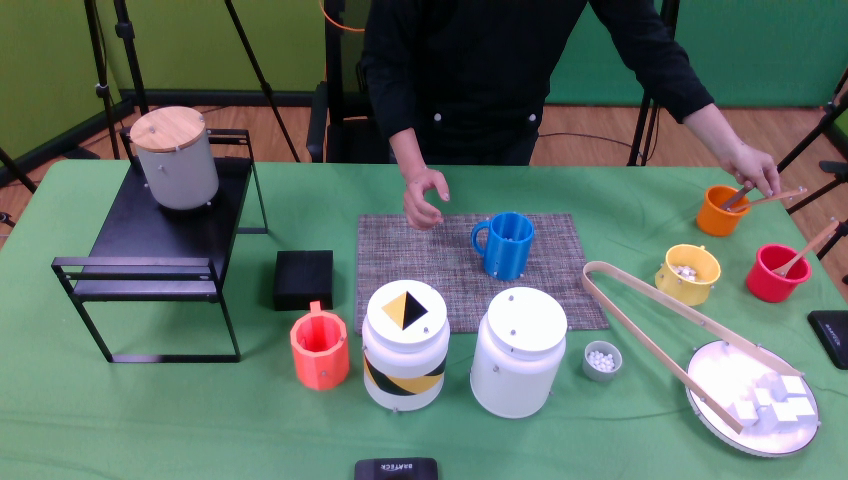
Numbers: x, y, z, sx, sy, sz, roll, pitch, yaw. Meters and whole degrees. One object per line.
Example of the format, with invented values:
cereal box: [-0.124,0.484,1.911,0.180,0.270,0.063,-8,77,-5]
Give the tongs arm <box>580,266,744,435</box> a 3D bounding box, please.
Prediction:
tongs arm: [0.384,0.173,1.028,0.028,0.028,0.385,-25,46,-15]

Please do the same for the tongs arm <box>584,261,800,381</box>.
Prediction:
tongs arm: [0.452,0.137,1.064,0.051,0.027,0.382,-34,50,-27]

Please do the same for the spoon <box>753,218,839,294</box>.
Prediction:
spoon: [0.700,0.031,1.138,0.194,0.022,0.041,-47,54,14]

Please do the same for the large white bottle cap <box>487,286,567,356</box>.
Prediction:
large white bottle cap: [0.147,0.114,0.869,0.115,0.018,0.114,3,46,-3]

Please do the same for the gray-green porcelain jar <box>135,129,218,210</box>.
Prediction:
gray-green porcelain jar: [-0.388,-0.120,0.960,0.106,0.127,0.105,2,46,-2]

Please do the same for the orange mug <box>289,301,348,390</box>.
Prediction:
orange mug: [-0.170,0.162,0.976,0.083,0.101,0.125,-7,52,-11]

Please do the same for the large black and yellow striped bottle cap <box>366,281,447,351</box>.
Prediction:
large black and yellow striped bottle cap: [-0.025,0.106,0.865,0.115,0.019,0.114,2,46,-1]

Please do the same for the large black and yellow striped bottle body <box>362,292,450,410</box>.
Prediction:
large black and yellow striped bottle body: [-0.029,0.163,0.928,0.131,0.185,0.130,2,47,-2]

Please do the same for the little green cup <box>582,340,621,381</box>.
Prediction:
little green cup: [0.295,0.203,1.015,0.061,0.039,0.061,2,45,-2]

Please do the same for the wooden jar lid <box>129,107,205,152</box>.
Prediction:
wooden jar lid: [-0.385,-0.163,0.914,0.108,0.021,0.107,2,47,-2]

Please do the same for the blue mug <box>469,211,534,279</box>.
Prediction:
blue mug: [0.141,0.005,1.140,0.116,0.106,0.082,18,48,13]

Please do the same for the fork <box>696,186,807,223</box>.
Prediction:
fork: [0.657,-0.071,1.225,0.207,0.019,0.028,-22,38,39]

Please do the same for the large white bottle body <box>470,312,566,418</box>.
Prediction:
large white bottle body: [0.143,0.173,0.930,0.131,0.185,0.130,2,46,-2]

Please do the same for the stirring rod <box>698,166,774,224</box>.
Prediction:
stirring rod: [0.644,-0.093,1.252,0.176,0.006,0.014,-41,58,14]

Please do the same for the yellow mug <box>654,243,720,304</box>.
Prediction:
yellow mug: [0.504,0.054,1.154,0.099,0.064,0.130,28,49,22]

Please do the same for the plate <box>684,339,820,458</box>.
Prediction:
plate: [0.523,0.256,0.982,0.208,0.039,0.206,2,46,-2]
